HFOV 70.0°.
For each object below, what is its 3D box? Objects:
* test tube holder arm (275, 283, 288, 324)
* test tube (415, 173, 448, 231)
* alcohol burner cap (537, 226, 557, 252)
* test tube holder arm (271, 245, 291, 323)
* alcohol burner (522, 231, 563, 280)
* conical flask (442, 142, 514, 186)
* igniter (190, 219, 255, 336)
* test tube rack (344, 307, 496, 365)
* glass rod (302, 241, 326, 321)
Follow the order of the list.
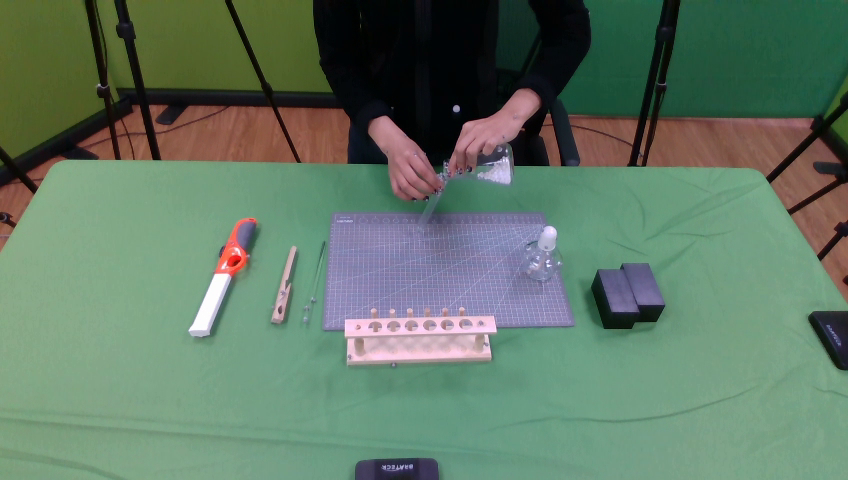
[{"bbox_3d":[-0.254,0.110,1.077,0.010,0.015,0.087,30,37,-28],"label":"test tube holder arm"},{"bbox_3d":[0.013,-0.068,1.144,0.017,0.150,0.017,14,45,-14],"label":"test tube"},{"bbox_3d":[0.226,-0.004,1.104,0.034,0.048,0.033,0,50,1],"label":"alcohol burner cap"},{"bbox_3d":[-0.260,0.076,1.106,0.013,0.015,0.177,29,38,-29],"label":"test tube holder arm"},{"bbox_3d":[0.224,0.020,1.131,0.078,0.119,0.077,4,46,-4],"label":"alcohol burner"},{"bbox_3d":[0.095,-0.130,1.069,0.122,0.076,0.075,-3,45,13],"label":"conical flask"},{"bbox_3d":[-0.365,0.058,1.110,0.057,0.025,0.275,-1,45,8],"label":"igniter"},{"bbox_3d":[-0.009,0.154,1.007,0.242,0.085,0.066,-1,46,-5],"label":"test tube rack"},{"bbox_3d":[-0.203,0.071,1.123,0.008,0.008,0.198,4,44,1],"label":"glass rod"}]
